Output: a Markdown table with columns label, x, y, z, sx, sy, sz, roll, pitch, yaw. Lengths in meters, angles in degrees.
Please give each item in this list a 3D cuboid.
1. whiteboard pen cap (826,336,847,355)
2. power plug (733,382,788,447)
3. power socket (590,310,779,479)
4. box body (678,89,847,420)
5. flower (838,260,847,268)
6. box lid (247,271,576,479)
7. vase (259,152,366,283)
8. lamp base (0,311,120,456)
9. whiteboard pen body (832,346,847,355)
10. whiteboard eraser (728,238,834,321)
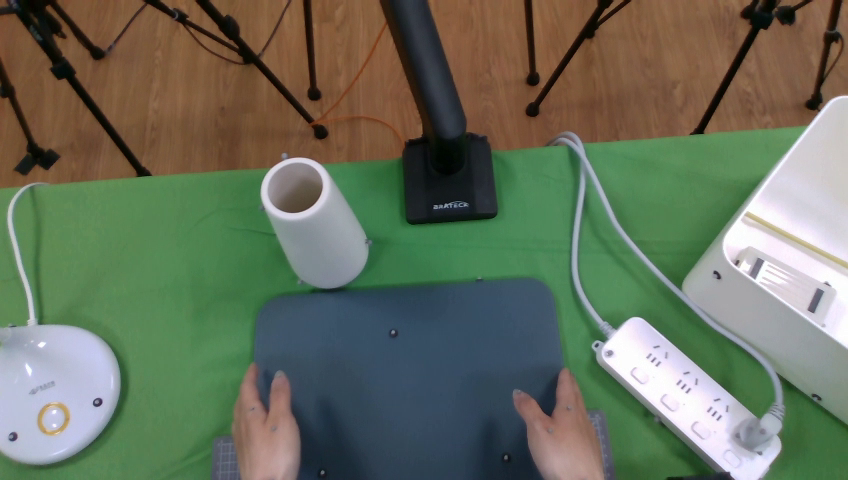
| label | x | y | z | sx | sy | sz | roll | pitch | yaw |
| --- | --- | --- | --- | --- | --- | --- | --- | --- | --- |
| whiteboard pen cap | 0.485 | 0.123 | 0.698 | 0.033 | 0.018 | 0.018 | 15 | 71 | 9 |
| power plug | 0.366 | 0.192 | 0.652 | 0.072 | 0.053 | 0.035 | -32 | 70 | -14 |
| power socket | 0.293 | 0.172 | 0.687 | 0.072 | 0.033 | 0.225 | -43 | 73 | -13 |
| box body | 0.501 | 0.053 | 0.654 | 0.362 | 0.161 | 0.254 | 39 | 75 | 15 |
| flower | 0.546 | 0.045 | 0.724 | 0.358 | 0.038 | 0.044 | 26 | 62 | 28 |
| box lid | -0.018 | 0.172 | 0.708 | 0.371 | 0.015 | 0.261 | -4 | 70 | 1 |
| vase | -0.123 | -0.022 | 0.685 | 0.098 | 0.201 | 0.097 | 0 | 68 | 1 |
| lamp base | -0.451 | 0.134 | 0.647 | 0.160 | 0.181 | 0.178 | -34 | 69 | -10 |
| whiteboard pen body | 0.540 | 0.141 | 0.690 | 0.140 | 0.017 | 0.017 | 14 | 71 | 10 |
| whiteboard eraser | 0.414 | 0.048 | 0.714 | 0.112 | 0.042 | 0.055 | 30 | 75 | 10 |
